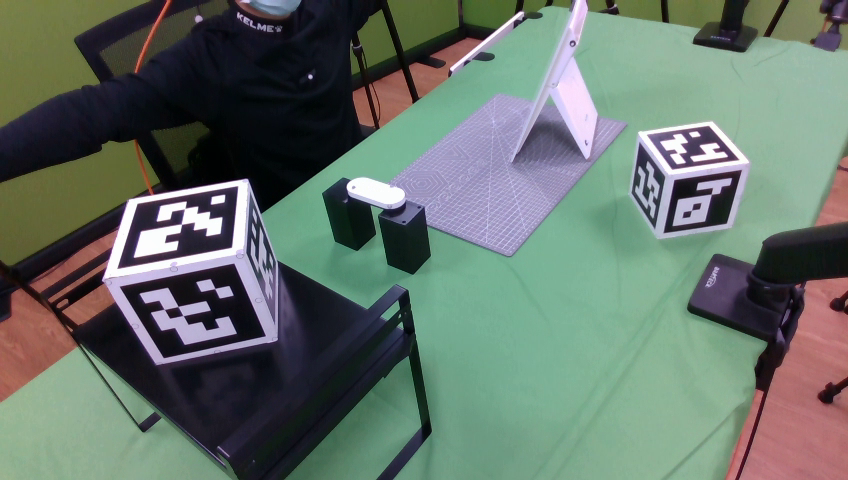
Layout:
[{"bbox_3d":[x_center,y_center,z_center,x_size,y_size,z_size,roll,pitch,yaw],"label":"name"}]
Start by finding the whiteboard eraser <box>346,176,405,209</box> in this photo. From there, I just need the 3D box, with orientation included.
[{"bbox_3d":[-0.073,-0.072,0.909,0.100,0.019,0.041,20,49,29],"label":"whiteboard eraser"}]

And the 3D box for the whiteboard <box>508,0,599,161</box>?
[{"bbox_3d":[0.285,-0.289,1.088,0.144,0.305,0.217,22,45,3],"label":"whiteboard"}]
